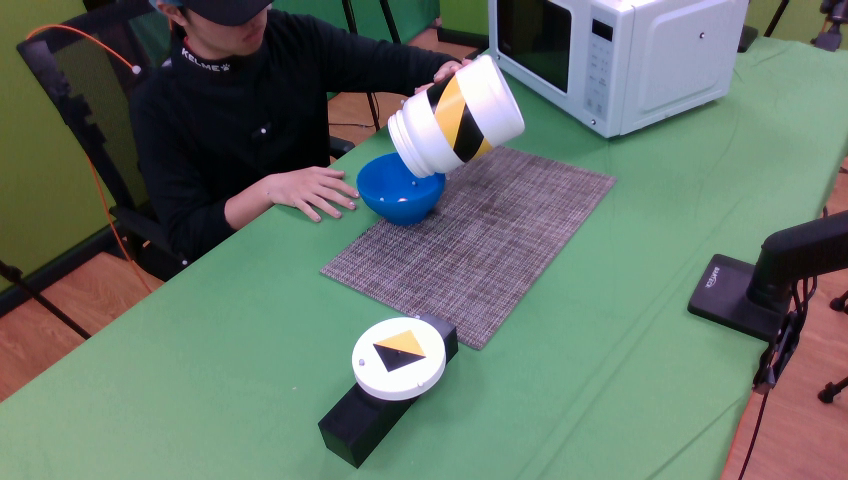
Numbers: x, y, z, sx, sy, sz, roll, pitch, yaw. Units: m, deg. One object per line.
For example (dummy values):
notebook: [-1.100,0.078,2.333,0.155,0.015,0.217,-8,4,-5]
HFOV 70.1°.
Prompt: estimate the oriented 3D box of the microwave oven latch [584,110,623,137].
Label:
microwave oven latch: [0.337,-0.222,1.142,0.030,0.029,0.078,-21,42,-14]

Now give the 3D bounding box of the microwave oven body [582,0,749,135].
microwave oven body: [0.382,-0.444,1.246,0.327,0.261,0.437,-22,42,-16]

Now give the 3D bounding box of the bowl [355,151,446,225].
bowl: [-0.035,-0.078,1.017,0.151,0.077,0.150,-4,40,4]

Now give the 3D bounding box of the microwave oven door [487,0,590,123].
microwave oven door: [0.232,-0.420,1.231,0.039,0.245,0.352,-22,43,-16]

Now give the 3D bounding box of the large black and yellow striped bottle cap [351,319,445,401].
large black and yellow striped bottle cap: [-0.031,0.143,0.735,0.115,0.019,0.114,-3,40,3]

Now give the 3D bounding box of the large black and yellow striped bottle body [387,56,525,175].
large black and yellow striped bottle body: [0.048,-0.185,0.933,0.183,0.132,0.130,-23,36,20]
